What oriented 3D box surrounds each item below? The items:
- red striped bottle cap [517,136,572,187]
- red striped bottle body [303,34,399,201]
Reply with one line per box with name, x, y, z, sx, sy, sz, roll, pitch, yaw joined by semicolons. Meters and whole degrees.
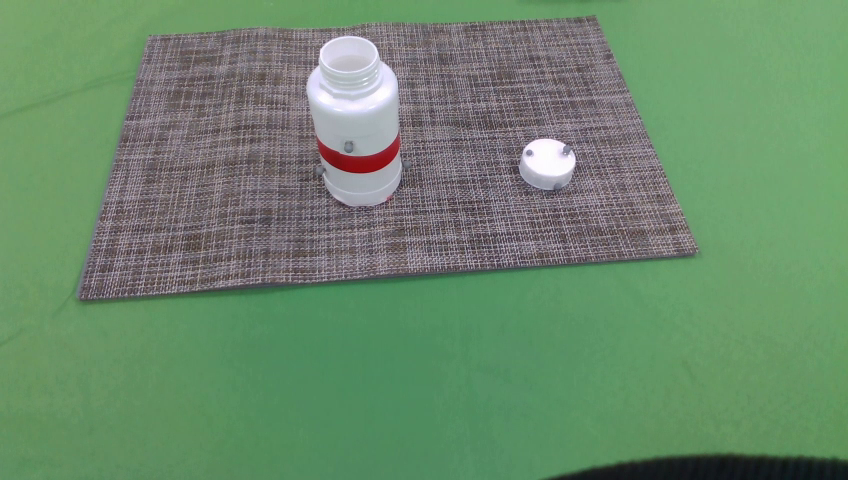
red striped bottle cap;0.099;-0.065;0.495;0.044;0.018;0.044;1;51;-1
red striped bottle body;-0.051;-0.088;0.442;0.063;0.121;0.062;0;55;0
